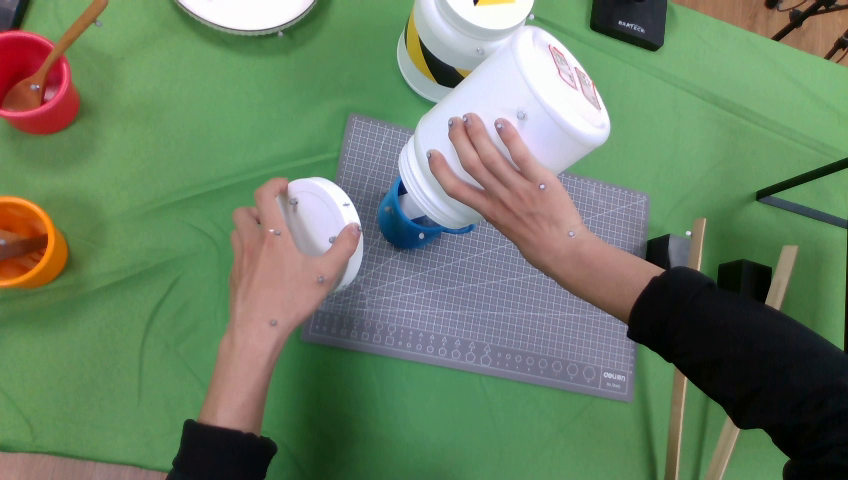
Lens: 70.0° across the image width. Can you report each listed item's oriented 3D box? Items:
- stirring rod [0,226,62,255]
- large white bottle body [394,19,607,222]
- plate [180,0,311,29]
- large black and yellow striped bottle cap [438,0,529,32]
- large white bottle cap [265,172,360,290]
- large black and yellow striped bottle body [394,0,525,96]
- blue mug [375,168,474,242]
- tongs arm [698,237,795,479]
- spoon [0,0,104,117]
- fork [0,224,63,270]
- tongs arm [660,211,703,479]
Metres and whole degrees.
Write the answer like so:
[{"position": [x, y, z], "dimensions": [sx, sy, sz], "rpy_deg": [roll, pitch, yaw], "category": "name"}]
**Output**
[{"position": [-0.437, 0.014, 0.591], "dimensions": [0.014, 0.006, 0.176], "rpy_deg": [59, 29, -2], "category": "stirring rod"}, {"position": [0.069, -0.108, 0.602], "dimensions": [0.132, 0.184, 0.129], "rpy_deg": [31, 41, -31], "category": "large white bottle body"}, {"position": [-0.232, -0.361, 0.770], "dimensions": [0.208, 0.039, 0.206], "rpy_deg": [3, 79, -15], "category": "plate"}, {"position": [0.065, -0.289, 0.674], "dimensions": [0.115, 0.019, 0.114], "rpy_deg": [3, 80, -16], "category": "large black and yellow striped bottle cap"}, {"position": [-0.110, -0.008, 0.585], "dimensions": [0.018, 0.114, 0.114], "rpy_deg": [-14, 82, -54], "category": "large white bottle cap"}, {"position": [0.044, -0.272, 0.753], "dimensions": [0.131, 0.184, 0.130], "rpy_deg": [3, 78, -15], "category": "large black and yellow striped bottle body"}, {"position": [0.005, -0.041, 0.738], "dimensions": [0.117, 0.106, 0.082], "rpy_deg": [20, 75, -11], "category": "blue mug"}, {"position": [0.429, 0.175, 0.821], "dimensions": [0.028, 0.027, 0.387], "rpy_deg": [23, 86, -19], "category": "tongs arm"}, {"position": [-0.393, -0.196, 0.639], "dimensions": [0.194, 0.021, 0.041], "rpy_deg": [-35, 86, 25], "category": "spoon"}, {"position": [-0.451, -0.028, 0.588], "dimensions": [0.209, 0.018, 0.028], "rpy_deg": [48, 62, -48], "category": "fork"}, {"position": [0.351, 0.156, 0.800], "dimensions": [0.051, 0.026, 0.384], "rpy_deg": [9, 89, -17], "category": "tongs arm"}]
